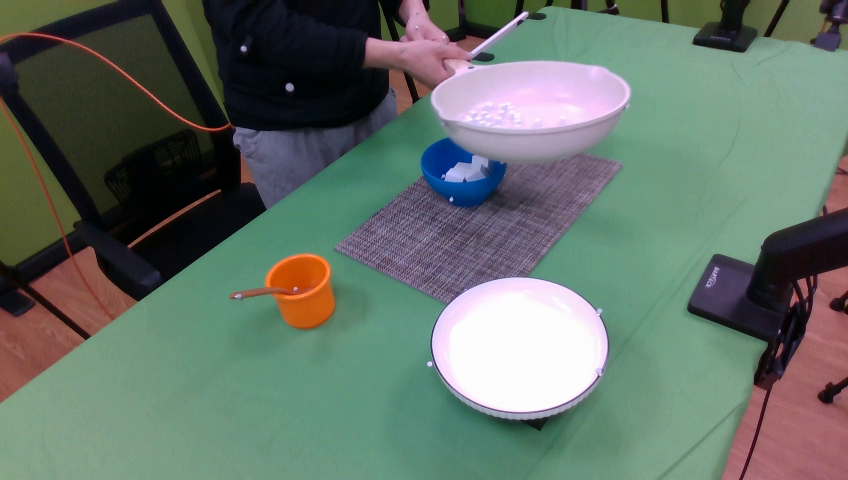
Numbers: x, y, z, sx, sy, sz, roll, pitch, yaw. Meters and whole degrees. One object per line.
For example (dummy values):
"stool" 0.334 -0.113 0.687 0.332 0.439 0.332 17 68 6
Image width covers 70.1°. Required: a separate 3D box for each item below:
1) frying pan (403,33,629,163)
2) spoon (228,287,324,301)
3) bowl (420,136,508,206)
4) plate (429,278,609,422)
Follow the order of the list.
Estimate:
"frying pan" 0.102 -0.255 0.987 0.308 0.103 0.483 -21 45 -25
"spoon" -0.197 0.071 0.816 0.041 0.195 0.021 13 88 23
"bowl" 0.071 -0.112 1.038 0.151 0.077 0.150 -4 40 4
"plate" 0.111 0.129 0.716 0.207 0.039 0.206 -5 39 4
